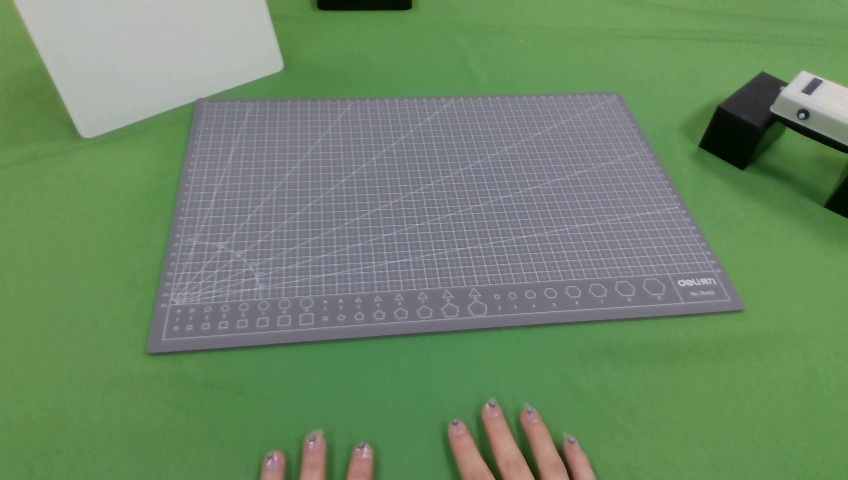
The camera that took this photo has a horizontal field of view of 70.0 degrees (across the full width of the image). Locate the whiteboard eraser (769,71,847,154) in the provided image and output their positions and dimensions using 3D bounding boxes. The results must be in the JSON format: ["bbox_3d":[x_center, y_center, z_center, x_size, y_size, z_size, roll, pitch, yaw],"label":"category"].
[{"bbox_3d":[0.380,-0.109,0.550,0.111,0.042,0.055,36,56,27],"label":"whiteboard eraser"}]

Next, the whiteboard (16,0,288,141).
[{"bbox_3d":[-0.295,-0.289,0.576,0.217,0.308,0.142,-30,37,-27],"label":"whiteboard"}]
